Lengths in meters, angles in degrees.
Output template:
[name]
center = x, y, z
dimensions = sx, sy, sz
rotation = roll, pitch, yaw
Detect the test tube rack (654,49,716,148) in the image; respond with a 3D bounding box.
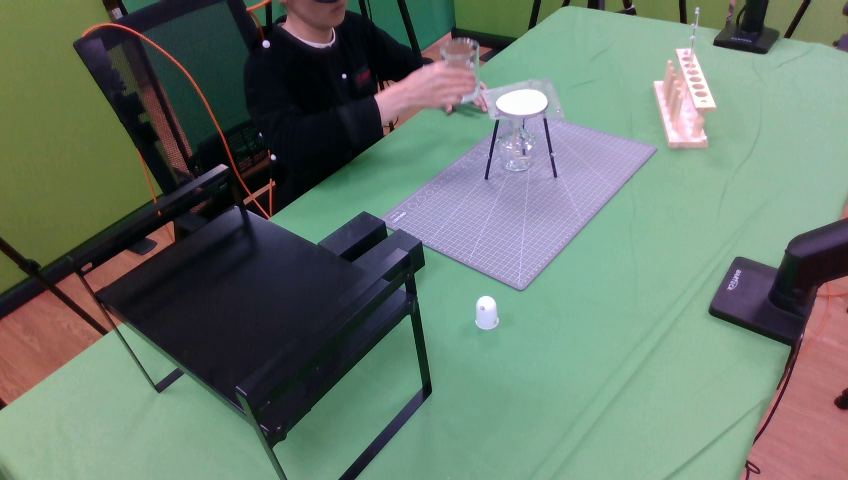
[test tube rack]
center = 0.502, -0.281, 1.176
dimensions = 0.066, 0.085, 0.241
rotation = 2, 41, 11

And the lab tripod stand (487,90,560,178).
[lab tripod stand]
center = 0.175, -0.185, 1.074
dimensions = 0.148, 0.132, 0.147
rotation = -5, 42, 5

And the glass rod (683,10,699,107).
[glass rod]
center = 0.501, -0.335, 1.138
dimensions = 0.008, 0.201, 0.008
rotation = -7, 45, 7

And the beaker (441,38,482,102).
[beaker]
center = 0.075, -0.325, 1.155
dimensions = 0.073, 0.101, 0.084
rotation = 25, 51, 30

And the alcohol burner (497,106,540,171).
[alcohol burner]
center = 0.170, -0.187, 1.092
dimensions = 0.078, 0.119, 0.077
rotation = -6, 41, 6

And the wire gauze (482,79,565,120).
[wire gauze]
center = 0.168, -0.239, 1.034
dimensions = 0.125, 0.011, 0.121
rotation = -6, 41, 2

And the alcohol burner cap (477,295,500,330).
[alcohol burner cap]
center = 0.089, 0.097, 0.833
dimensions = 0.034, 0.048, 0.033
rotation = -4, 42, 4
